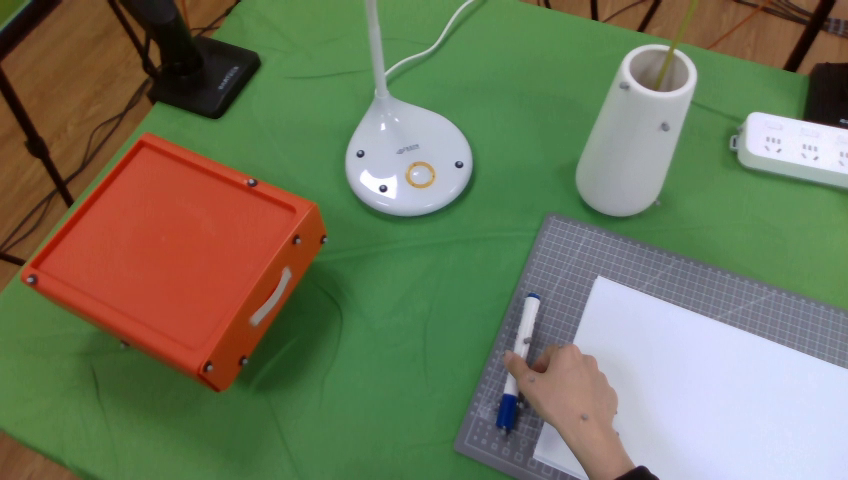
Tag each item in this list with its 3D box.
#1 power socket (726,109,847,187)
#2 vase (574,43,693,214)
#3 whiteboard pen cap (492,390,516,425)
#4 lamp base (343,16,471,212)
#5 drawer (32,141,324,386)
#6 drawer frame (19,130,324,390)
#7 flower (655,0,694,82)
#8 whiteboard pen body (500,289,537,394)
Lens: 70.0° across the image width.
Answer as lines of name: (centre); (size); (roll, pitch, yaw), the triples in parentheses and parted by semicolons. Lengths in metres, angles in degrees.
power socket: (0.489, -0.105, 0.732); (0.226, 0.033, 0.072); (15, 63, 10)
vase: (0.222, -0.114, 0.654); (0.098, 0.202, 0.097); (-2, 60, 3)
whiteboard pen cap: (0.080, 0.167, 0.605); (0.018, 0.018, 0.033); (14, 63, 11)
lamp base: (-0.032, -0.150, 0.695); (0.160, 0.182, 0.177); (-30, 61, -14)
drawer: (-0.241, 0.014, 0.619); (0.211, 0.074, 0.193); (23, 65, 14)
drawer frame: (-0.247, 0.014, 0.622); (0.213, 0.083, 0.201); (23, 65, 12)
flower: (0.231, -0.166, 0.588); (0.038, 0.364, 0.043); (9, 44, 0)
whiteboard pen body: (0.096, 0.116, 0.629); (0.017, 0.017, 0.140); (14, 64, 10)
